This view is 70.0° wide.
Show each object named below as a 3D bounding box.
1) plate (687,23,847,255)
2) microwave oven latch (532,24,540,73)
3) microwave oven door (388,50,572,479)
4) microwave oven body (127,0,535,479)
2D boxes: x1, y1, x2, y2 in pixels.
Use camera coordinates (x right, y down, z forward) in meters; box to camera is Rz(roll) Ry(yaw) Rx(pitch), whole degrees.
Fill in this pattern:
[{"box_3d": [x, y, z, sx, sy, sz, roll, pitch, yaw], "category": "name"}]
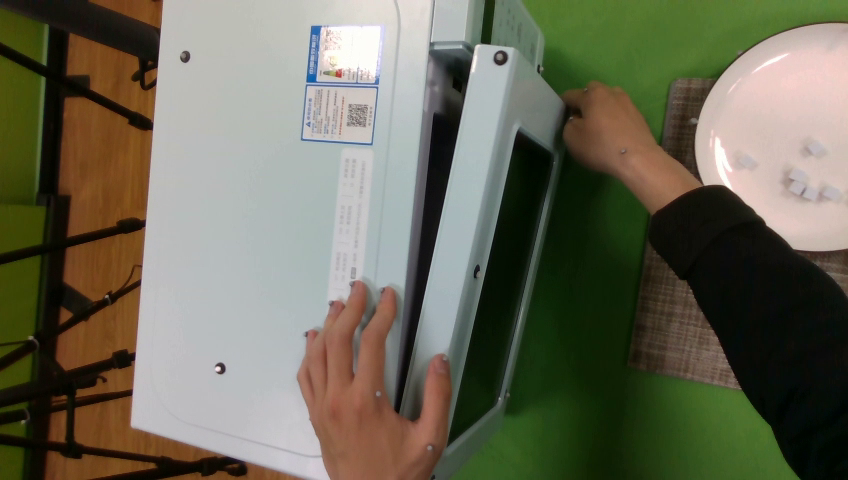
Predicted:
[{"box_3d": [0.355, -0.089, 0.557, 0.208, 0.038, 0.209, 0, 90, 22], "category": "plate"}, {"box_3d": [0.105, -0.186, 0.644, 0.030, 0.029, 0.079, 8, 94, 22], "category": "microwave oven latch"}, {"box_3d": [0.059, 0.035, 0.557, 0.039, 0.245, 0.356, 15, 96, 23], "category": "microwave oven door"}, {"box_3d": [-0.087, -0.027, 0.621, 0.324, 0.261, 0.442, 7, 94, 22], "category": "microwave oven body"}]
